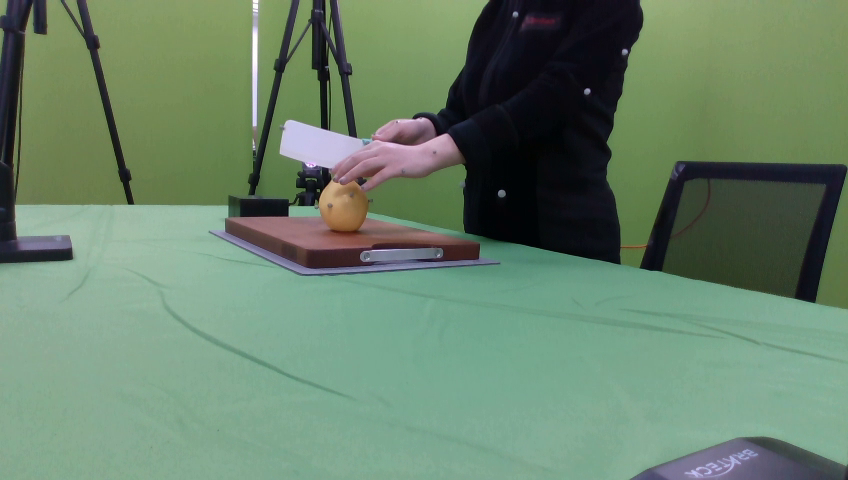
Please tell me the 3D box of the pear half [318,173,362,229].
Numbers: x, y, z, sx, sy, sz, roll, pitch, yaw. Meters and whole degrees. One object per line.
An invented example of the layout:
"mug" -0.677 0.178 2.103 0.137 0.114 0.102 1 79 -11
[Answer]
"pear half" -0.136 -0.062 0.959 0.071 0.088 0.031 -8 10 -29

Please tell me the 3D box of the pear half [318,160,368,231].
"pear half" -0.120 -0.067 0.926 0.077 0.110 0.055 -7 12 -29

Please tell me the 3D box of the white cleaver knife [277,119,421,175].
"white cleaver knife" -0.115 -0.142 0.997 0.288 0.066 0.021 5 1 -43
